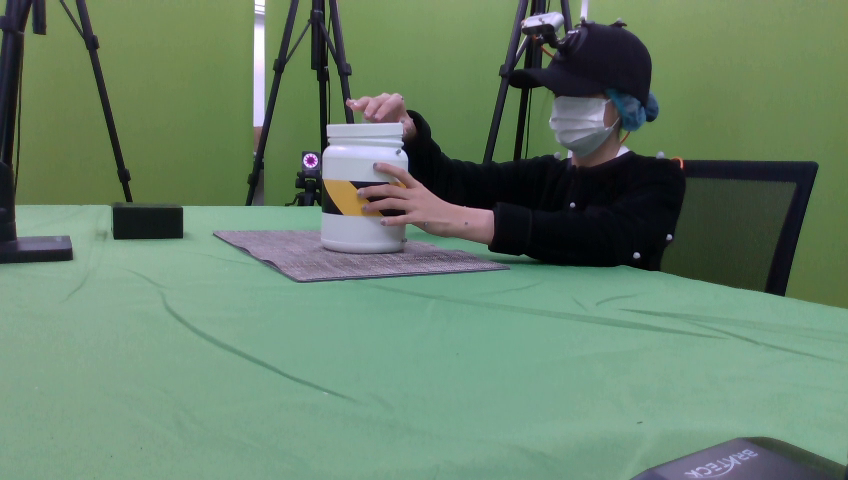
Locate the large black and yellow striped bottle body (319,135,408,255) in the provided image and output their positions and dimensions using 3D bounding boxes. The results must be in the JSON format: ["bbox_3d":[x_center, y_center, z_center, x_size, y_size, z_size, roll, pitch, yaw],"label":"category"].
[{"bbox_3d":[-0.091,-0.076,0.920,0.131,0.184,0.130,3,7,0],"label":"large black and yellow striped bottle body"}]

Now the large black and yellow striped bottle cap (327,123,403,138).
[{"bbox_3d":[-0.088,-0.164,0.907,0.115,0.019,0.115,-2,10,1],"label":"large black and yellow striped bottle cap"}]
